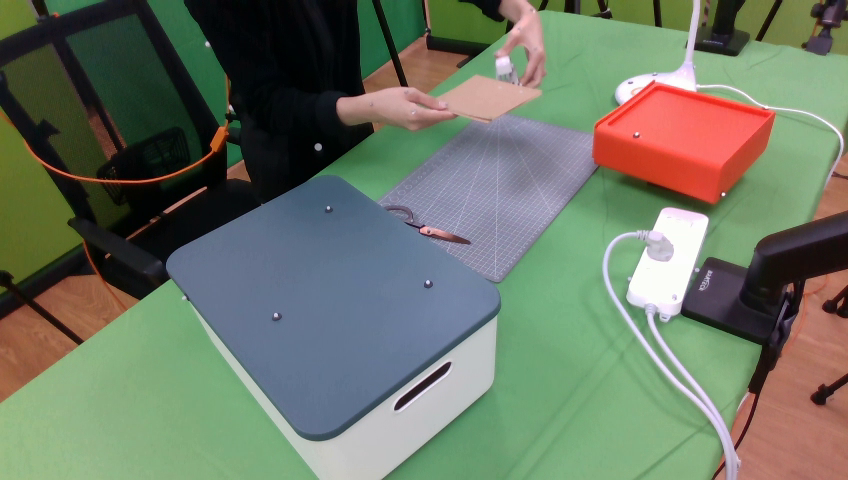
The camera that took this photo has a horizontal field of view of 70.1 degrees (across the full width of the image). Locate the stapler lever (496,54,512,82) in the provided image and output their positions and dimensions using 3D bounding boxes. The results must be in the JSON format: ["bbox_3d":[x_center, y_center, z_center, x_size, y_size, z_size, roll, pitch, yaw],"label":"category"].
[{"bbox_3d":[0.144,-0.318,1.091,0.027,0.040,0.117,-9,32,11],"label":"stapler lever"}]

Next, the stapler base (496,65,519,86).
[{"bbox_3d":[0.151,-0.297,1.103,0.041,0.024,0.130,-8,32,11],"label":"stapler base"}]

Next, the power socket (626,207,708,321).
[{"bbox_3d":[0.360,0.026,0.886,0.072,0.033,0.227,16,46,26],"label":"power socket"}]

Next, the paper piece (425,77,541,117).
[{"bbox_3d":[0.096,-0.229,0.964,0.137,0.009,0.136,23,40,36],"label":"paper piece"}]

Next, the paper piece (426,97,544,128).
[{"bbox_3d":[0.095,-0.218,0.960,0.136,0.004,0.134,-29,43,-33],"label":"paper piece"}]

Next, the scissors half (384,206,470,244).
[{"bbox_3d":[0.001,-0.024,1.005,0.174,0.013,0.040,22,57,25],"label":"scissors half"}]

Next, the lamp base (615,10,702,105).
[{"bbox_3d":[0.484,-0.364,1.211,0.180,0.181,0.159,-15,41,-14],"label":"lamp base"}]

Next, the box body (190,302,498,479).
[{"bbox_3d":[-0.110,0.103,0.761,0.255,0.161,0.361,-33,46,-27],"label":"box body"}]

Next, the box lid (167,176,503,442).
[{"bbox_3d":[-0.119,0.047,0.714,0.264,0.015,0.368,-32,47,-27],"label":"box lid"}]

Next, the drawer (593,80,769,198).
[{"bbox_3d":[0.423,-0.174,1.007,0.210,0.073,0.195,30,52,35],"label":"drawer"}]

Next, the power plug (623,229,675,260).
[{"bbox_3d":[0.327,0.007,0.878,0.072,0.053,0.035,25,51,33],"label":"power plug"}]

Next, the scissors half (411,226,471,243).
[{"bbox_3d":[-0.007,-0.010,0.993,0.174,0.013,0.040,8,46,15],"label":"scissors half"}]

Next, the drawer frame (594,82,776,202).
[{"bbox_3d":[0.428,-0.171,1.006,0.211,0.083,0.202,29,51,36],"label":"drawer frame"}]
